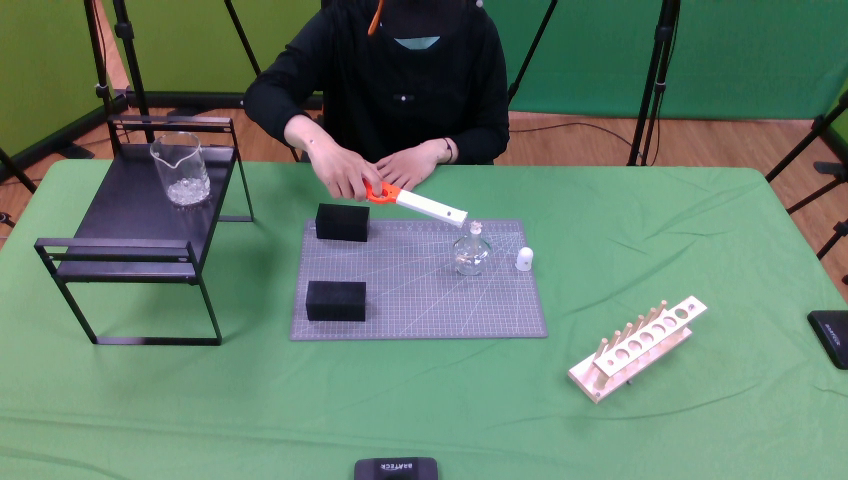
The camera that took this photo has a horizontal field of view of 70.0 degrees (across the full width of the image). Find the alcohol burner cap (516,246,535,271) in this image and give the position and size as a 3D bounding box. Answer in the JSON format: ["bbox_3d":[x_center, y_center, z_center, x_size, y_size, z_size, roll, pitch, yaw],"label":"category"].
[{"bbox_3d":[0.195,0.032,1.158,0.034,0.048,0.033,2,45,-2],"label":"alcohol burner cap"}]

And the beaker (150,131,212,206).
[{"bbox_3d":[-0.385,-0.110,0.969,0.074,0.101,0.083,-6,48,-9],"label":"beaker"}]

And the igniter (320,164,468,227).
[{"bbox_3d":[-0.056,-0.083,1.093,0.276,0.025,0.057,20,52,8],"label":"igniter"}]

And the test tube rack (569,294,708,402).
[{"bbox_3d":[0.360,0.167,1.015,0.242,0.085,0.066,-25,52,-25],"label":"test tube rack"}]

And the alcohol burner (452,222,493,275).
[{"bbox_3d":[0.091,0.009,1.124,0.078,0.119,0.077,2,48,-2],"label":"alcohol burner"}]
